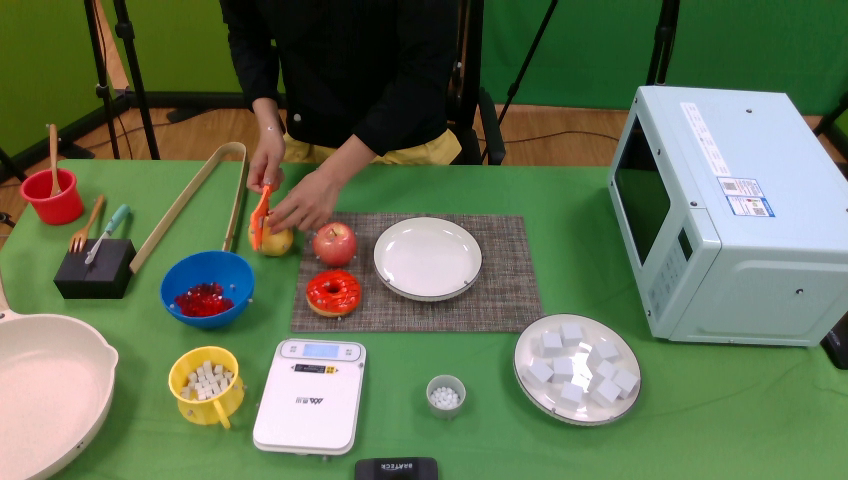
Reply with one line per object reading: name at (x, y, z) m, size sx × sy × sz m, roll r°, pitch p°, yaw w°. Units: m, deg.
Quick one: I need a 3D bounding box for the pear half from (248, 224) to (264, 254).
pear half at (-0.316, -0.013, 1.143) m, size 0.031 × 0.088 × 0.070 m, roll -7°, pitch 50°, yaw -2°

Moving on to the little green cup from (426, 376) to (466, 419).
little green cup at (0.033, 0.248, 0.950) m, size 0.061 × 0.039 × 0.061 m, roll 2°, pitch 46°, yaw -2°

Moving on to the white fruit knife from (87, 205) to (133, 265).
white fruit knife at (-0.584, -0.013, 1.129) m, size 0.016 × 0.027 × 0.206 m, roll -1°, pitch 32°, yaw -4°

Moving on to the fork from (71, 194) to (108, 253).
fork at (-0.634, -0.036, 1.158) m, size 0.028 × 0.019 × 0.206 m, roll -8°, pitch 31°, yaw -8°

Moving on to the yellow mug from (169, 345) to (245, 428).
yellow mug at (-0.322, 0.230, 0.922) m, size 0.100 × 0.064 × 0.130 m, roll -24°, pitch 53°, yaw -25°

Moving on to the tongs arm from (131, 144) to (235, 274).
tongs arm at (-0.484, -0.076, 1.235) m, size 0.028 × 0.028 × 0.385 m, roll 6°, pitch 45°, yaw 13°

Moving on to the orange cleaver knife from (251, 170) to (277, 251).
orange cleaver knife at (-0.301, -0.060, 1.143) m, size 0.012 × 0.077 × 0.210 m, roll 3°, pitch 35°, yaw -3°

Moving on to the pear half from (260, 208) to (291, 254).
pear half at (-0.276, -0.022, 1.131) m, size 0.056 × 0.110 × 0.076 m, roll 1°, pitch 54°, yaw -19°

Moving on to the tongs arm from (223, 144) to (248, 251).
tongs arm at (-0.398, -0.073, 1.232) m, size 0.051 × 0.027 × 0.382 m, roll -3°, pitch 45°, yaw 0°

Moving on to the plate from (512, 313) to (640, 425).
plate at (0.246, 0.213, 0.999) m, size 0.208 × 0.039 × 0.206 m, roll 2°, pitch 46°, yaw -2°

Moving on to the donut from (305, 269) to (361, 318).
donut at (-0.160, 0.094, 1.075) m, size 0.099 × 0.048 × 0.098 m, roll 3°, pitch 45°, yaw -3°

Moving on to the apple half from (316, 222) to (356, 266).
apple half at (-0.156, 0.015, 1.132) m, size 0.053 × 0.075 × 0.080 m, roll 28°, pitch 48°, yaw 18°

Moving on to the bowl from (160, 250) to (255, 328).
bowl at (-0.362, 0.098, 1.040) m, size 0.151 × 0.077 × 0.150 m, roll 2°, pitch 45°, yaw -2°

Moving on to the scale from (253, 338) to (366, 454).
scale at (-0.175, 0.236, 0.951) m, size 0.149 × 0.032 × 0.199 m, roll 4°, pitch 45°, yaw 0°

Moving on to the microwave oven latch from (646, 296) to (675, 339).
microwave oven latch at (0.412, 0.134, 1.061) m, size 0.030 × 0.029 × 0.078 m, roll 4°, pitch 45°, yaw 1°

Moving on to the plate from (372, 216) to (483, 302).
plate at (0.006, 0.038, 1.145) m, size 0.209 × 0.038 × 0.208 m, roll 2°, pitch 46°, yaw -2°

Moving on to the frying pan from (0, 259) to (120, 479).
frying pan at (-0.647, 0.164, 0.936) m, size 0.307 × 0.103 × 0.485 m, roll -19°, pitch 58°, yaw -22°

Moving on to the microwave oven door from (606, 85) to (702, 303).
microwave oven door at (0.422, -0.094, 1.140) m, size 0.039 × 0.245 × 0.353 m, roll 2°, pitch 46°, yaw -1°

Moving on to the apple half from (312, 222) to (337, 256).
apple half at (-0.190, -0.001, 1.144) m, size 0.032 × 0.081 × 0.081 m, roll 28°, pitch 51°, yaw 17°

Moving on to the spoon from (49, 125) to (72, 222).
spoon at (-0.718, -0.131, 1.189) m, size 0.041 × 0.021 × 0.193 m, roll -4°, pitch 90°, yaw -7°

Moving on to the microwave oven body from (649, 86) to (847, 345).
microwave oven body at (0.567, -0.053, 1.118) m, size 0.326 × 0.261 × 0.439 m, roll 2°, pitch 45°, yaw -1°
